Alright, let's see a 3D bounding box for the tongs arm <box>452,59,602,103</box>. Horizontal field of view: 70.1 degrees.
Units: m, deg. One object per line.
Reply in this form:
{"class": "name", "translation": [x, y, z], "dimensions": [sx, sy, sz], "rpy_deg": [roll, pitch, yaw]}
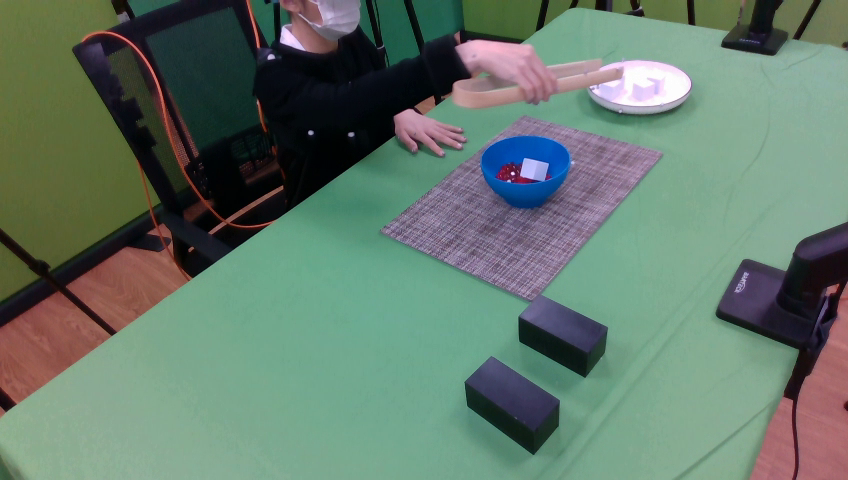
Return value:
{"class": "tongs arm", "translation": [0.189, -0.280, 1.042], "dimensions": [0.390, 0.028, 0.028], "rpy_deg": [-20, 45, -35]}

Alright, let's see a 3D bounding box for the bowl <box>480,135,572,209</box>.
{"class": "bowl", "translation": [0.172, -0.107, 1.024], "dimensions": [0.151, 0.077, 0.150], "rpy_deg": [-4, 40, 4]}

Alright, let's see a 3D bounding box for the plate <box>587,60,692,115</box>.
{"class": "plate", "translation": [0.445, -0.313, 1.263], "dimensions": [0.209, 0.038, 0.208], "rpy_deg": [-5, 40, 4]}

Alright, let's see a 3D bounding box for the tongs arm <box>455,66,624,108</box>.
{"class": "tongs arm", "translation": [0.209, -0.265, 1.022], "dimensions": [0.387, 0.026, 0.050], "rpy_deg": [-21, 43, -36]}
